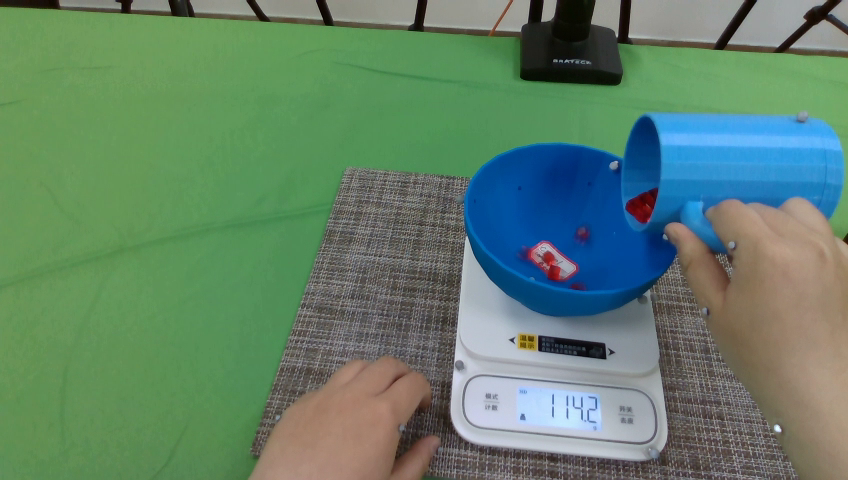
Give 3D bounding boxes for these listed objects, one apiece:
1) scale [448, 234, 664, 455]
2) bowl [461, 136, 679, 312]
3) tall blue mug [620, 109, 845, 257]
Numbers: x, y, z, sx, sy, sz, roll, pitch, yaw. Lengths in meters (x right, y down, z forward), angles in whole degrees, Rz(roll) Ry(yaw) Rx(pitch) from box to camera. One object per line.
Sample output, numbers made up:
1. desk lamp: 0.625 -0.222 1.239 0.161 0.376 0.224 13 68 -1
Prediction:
1. scale: 0.100 0.059 0.467 0.148 0.032 0.199 5 49 4
2. bowl: 0.100 0.001 0.448 0.151 0.077 0.150 1 48 -1
3. tall blue mug: 0.191 -0.040 0.374 0.108 0.078 0.106 1 15 0
